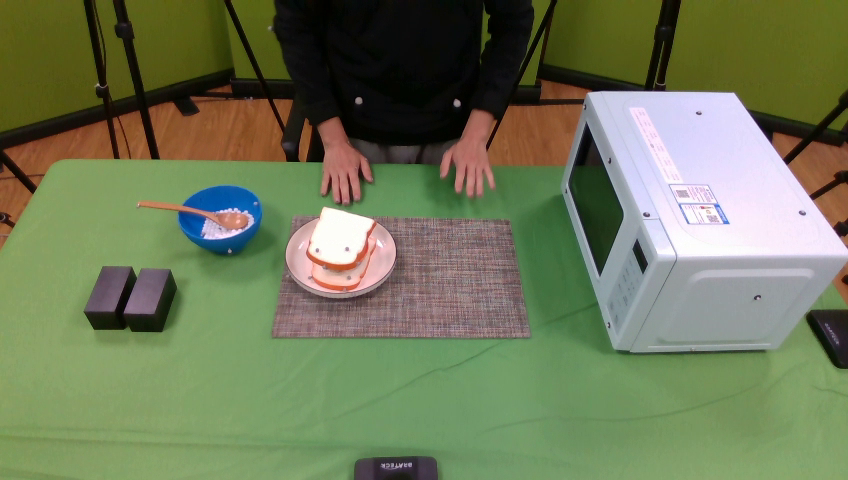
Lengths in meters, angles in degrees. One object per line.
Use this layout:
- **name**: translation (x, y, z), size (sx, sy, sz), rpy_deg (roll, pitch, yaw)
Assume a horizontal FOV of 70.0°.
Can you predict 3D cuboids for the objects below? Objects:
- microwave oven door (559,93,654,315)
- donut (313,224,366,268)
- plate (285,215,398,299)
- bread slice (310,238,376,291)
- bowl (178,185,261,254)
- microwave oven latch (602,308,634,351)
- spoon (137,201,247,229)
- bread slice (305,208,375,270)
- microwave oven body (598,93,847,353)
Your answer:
- **microwave oven door**: translation (0.327, -0.074, 1.123), size (0.039, 0.245, 0.353), rpy_deg (0, 46, -5)
- **donut**: translation (-0.156, 0.011, 1.120), size (0.099, 0.048, 0.098), rpy_deg (0, 42, 0)
- **plate**: translation (-0.154, 0.034, 1.140), size (0.208, 0.039, 0.206), rpy_deg (2, 46, -2)
- **bread slice**: translation (-0.154, 0.039, 1.135), size (0.107, 0.018, 0.133), rpy_deg (7, 46, 3)
- **bowl**: translation (-0.383, -0.027, 1.158), size (0.151, 0.077, 0.150), rpy_deg (2, 46, -2)
- **microwave oven latch**: translation (0.332, 0.153, 1.044), size (0.030, 0.029, 0.078), rpy_deg (-1, 45, -4)
- **spoon**: translation (-0.431, -0.051, 1.135), size (0.194, 0.022, 0.041), rpy_deg (14, 46, -22)
- **bread slice**: translation (-0.154, -0.001, 1.095), size (0.105, 0.019, 0.131), rpy_deg (15, 48, 1)
- **microwave oven body**: translation (0.475, -0.041, 1.110), size (0.326, 0.261, 0.438), rpy_deg (-1, 45, -4)
